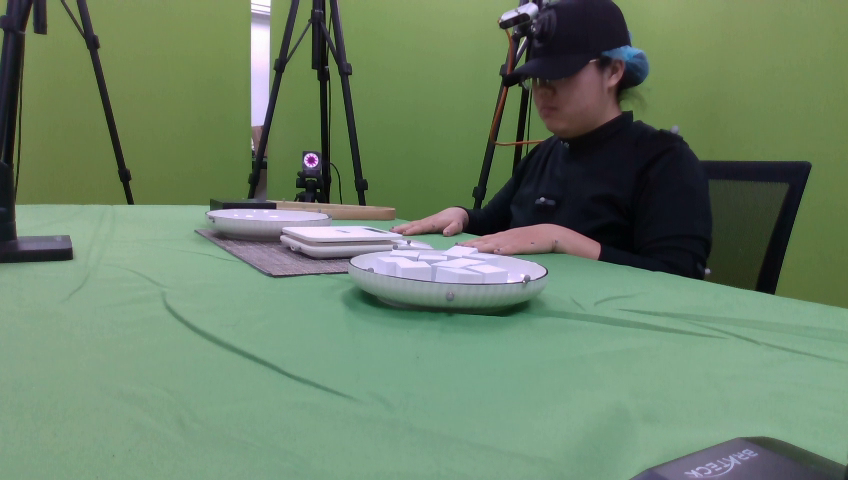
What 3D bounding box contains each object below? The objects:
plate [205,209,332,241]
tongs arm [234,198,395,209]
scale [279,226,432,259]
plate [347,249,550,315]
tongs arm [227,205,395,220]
[{"bbox_3d":[-0.262,-0.026,1.030,0.208,0.039,0.207,3,7,0],"label":"plate"},{"bbox_3d":[-0.263,-0.076,1.460,0.386,0.026,0.050,3,7,-8],"label":"tongs arm"},{"bbox_3d":[-0.100,0.001,0.899,0.202,0.031,0.148,-1,9,-31],"label":"scale"},{"bbox_3d":[0.025,0.042,0.627,0.209,0.038,0.209,2,7,0],"label":"plate"},{"bbox_3d":[-0.247,-0.063,1.382,0.389,0.028,0.028,0,4,-21],"label":"tongs arm"}]
